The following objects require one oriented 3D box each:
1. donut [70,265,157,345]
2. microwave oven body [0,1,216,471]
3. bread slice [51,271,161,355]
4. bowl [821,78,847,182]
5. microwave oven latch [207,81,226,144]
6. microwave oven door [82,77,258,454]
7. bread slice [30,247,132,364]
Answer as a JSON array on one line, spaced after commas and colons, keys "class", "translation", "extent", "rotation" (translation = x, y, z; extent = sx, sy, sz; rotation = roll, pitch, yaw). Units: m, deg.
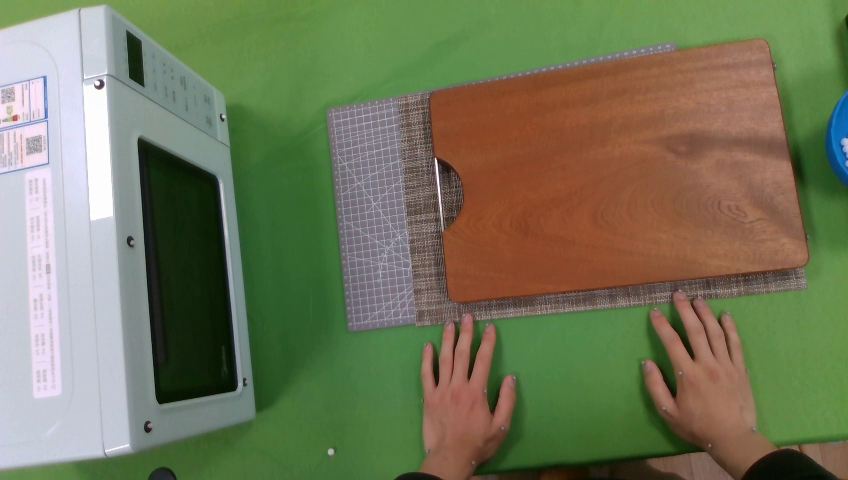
[{"class": "donut", "translation": [-0.369, 0.077, 0.721], "extent": [0.099, 0.048, 0.099], "rotation": [0, 99, -2]}, {"class": "microwave oven body", "translation": [-0.419, 0.019, 0.703], "extent": [0.326, 0.261, 0.440], "rotation": [-10, 81, 8]}, {"class": "bread slice", "translation": [-0.397, 0.090, 0.754], "extent": [0.131, 0.019, 0.105], "rotation": [2, 89, 1]}, {"class": "bowl", "translation": [0.497, -0.111, 0.649], "extent": [0.151, 0.077, 0.151], "rotation": [-1, 83, 11]}, {"class": "microwave oven latch", "translation": [-0.283, -0.166, 0.802], "extent": [0.030, 0.029, 0.079], "rotation": [-11, 81, 8]}, {"class": "microwave oven door", "translation": [-0.271, 0.032, 0.669], "extent": [0.039, 0.245, 0.354], "rotation": [-11, 80, 9]}, {"class": "bread slice", "translation": [-0.386, 0.082, 0.674], "extent": [0.134, 0.018, 0.106], "rotation": [-25, 81, 21]}]
